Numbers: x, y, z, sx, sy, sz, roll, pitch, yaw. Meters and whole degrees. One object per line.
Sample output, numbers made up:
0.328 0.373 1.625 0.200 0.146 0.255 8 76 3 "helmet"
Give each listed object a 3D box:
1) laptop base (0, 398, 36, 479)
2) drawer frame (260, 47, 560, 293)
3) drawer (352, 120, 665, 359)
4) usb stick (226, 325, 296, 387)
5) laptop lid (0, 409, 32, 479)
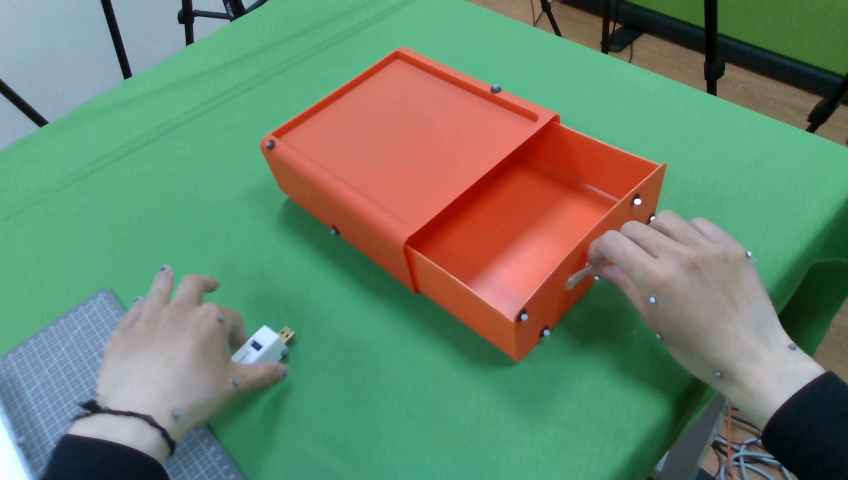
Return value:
-0.436 0.272 0.411 0.354 0.023 0.233 -39 57 -21 "laptop base"
-0.013 -0.080 0.588 0.211 0.083 0.201 33 63 33 "drawer frame"
0.064 -0.030 0.532 0.209 0.074 0.194 33 63 33 "drawer"
-0.132 0.091 0.503 0.021 0.027 0.059 26 56 32 "usb stick"
-0.437 0.266 0.400 0.356 0.013 0.239 -37 55 -20 "laptop lid"
